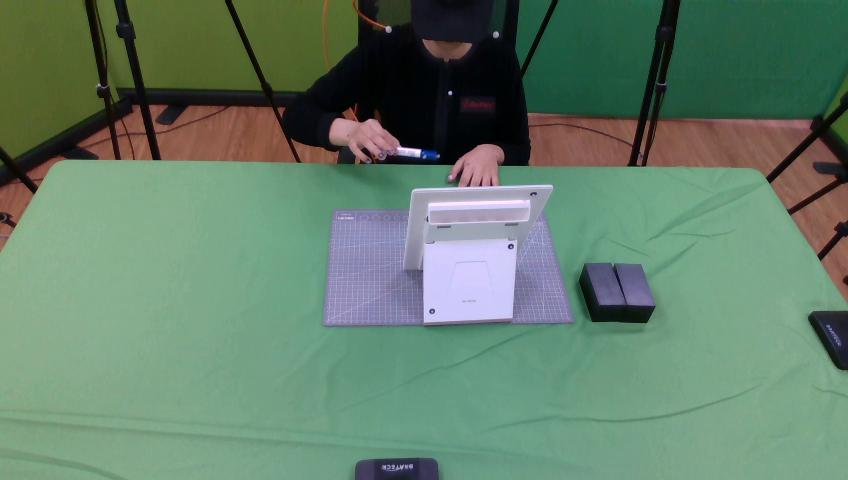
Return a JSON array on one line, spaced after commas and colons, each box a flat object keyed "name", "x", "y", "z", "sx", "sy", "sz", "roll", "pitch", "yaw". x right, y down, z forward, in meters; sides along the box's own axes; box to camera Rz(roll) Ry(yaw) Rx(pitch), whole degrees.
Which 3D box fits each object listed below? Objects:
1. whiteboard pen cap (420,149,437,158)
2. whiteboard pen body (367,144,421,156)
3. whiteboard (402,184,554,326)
[{"name": "whiteboard pen cap", "x": 0.009, "y": -0.170, "z": 1.194, "sx": 0.033, "sy": 0.018, "sz": 0.018, "roll": 9, "pitch": 46, "yaw": 17}, {"name": "whiteboard pen body", "x": -0.048, "y": -0.178, "z": 1.210, "sx": 0.140, "sy": 0.017, "sz": 0.017, "roll": 8, "pitch": 46, "yaw": 16}, {"name": "whiteboard", "x": 0.081, "y": 0.044, "z": 1.005, "sx": 0.217, "sy": 0.306, "sz": 0.143, "roll": -1, "pitch": 65, "yaw": -6}]
